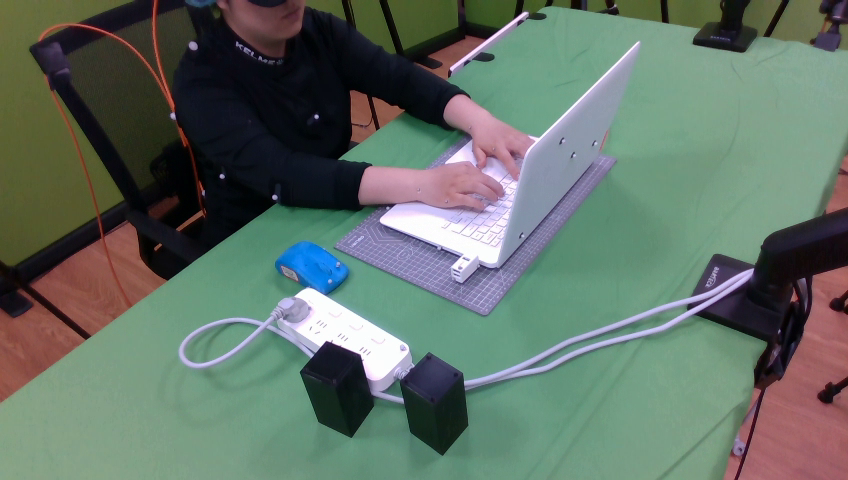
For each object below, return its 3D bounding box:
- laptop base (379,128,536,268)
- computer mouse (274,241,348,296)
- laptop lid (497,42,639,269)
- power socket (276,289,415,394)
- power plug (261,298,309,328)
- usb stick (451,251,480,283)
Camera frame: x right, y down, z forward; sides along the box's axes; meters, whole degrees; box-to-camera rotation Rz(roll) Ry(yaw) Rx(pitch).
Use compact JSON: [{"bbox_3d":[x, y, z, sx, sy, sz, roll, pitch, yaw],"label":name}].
[{"bbox_3d":[0.118,-0.088,1.058,0.233,0.023,0.355,19,47,33],"label":"laptop base"},{"bbox_3d":[-0.175,0.040,0.936,0.116,0.041,0.063,27,48,27],"label":"computer mouse"},{"bbox_3d":[0.221,-0.130,0.912,0.013,0.242,0.357,31,51,21],"label":"laptop lid"},{"bbox_3d":[-0.114,0.133,0.821,0.225,0.033,0.072,25,49,33],"label":"power socket"},{"bbox_3d":[-0.192,0.107,0.831,0.073,0.053,0.035,-33,43,-25],"label":"power plug"},{"bbox_3d":[0.066,0.036,0.899,0.021,0.027,0.059,23,46,32],"label":"usb stick"}]
